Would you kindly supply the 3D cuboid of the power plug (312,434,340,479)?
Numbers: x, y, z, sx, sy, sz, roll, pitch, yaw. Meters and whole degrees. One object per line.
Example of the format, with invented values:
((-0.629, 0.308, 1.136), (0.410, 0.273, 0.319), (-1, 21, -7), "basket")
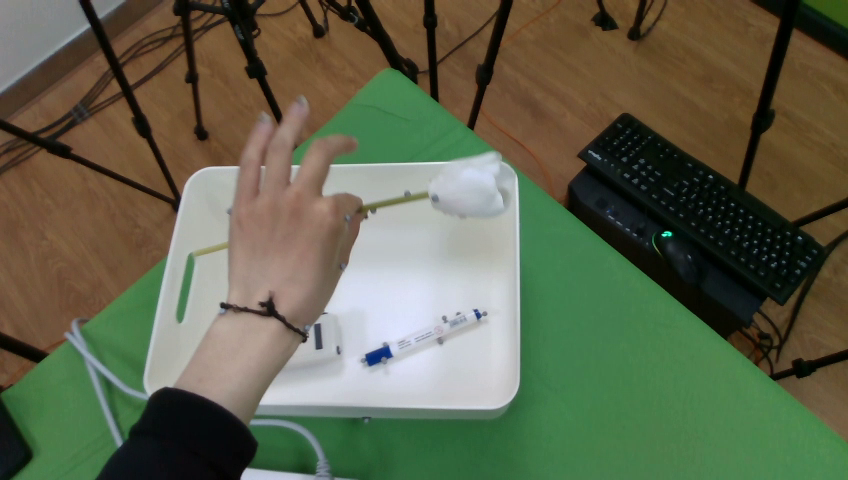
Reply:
((-0.098, 0.251, 0.647), (0.035, 0.053, 0.072), (12, 66, 13), "power plug")

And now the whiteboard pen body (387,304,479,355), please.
((-0.001, 0.110, 0.715), (0.141, 0.017, 0.017), (-24, 67, -1), "whiteboard pen body")

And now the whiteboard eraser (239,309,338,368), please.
((-0.160, 0.117, 0.717), (0.113, 0.042, 0.055), (-8, 69, 1), "whiteboard eraser")

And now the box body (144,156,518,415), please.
((-0.080, 0.061, 0.674), (0.364, 0.161, 0.252), (-1, 68, 7), "box body")

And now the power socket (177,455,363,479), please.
((-0.172, 0.283, 0.668), (0.226, 0.033, 0.071), (3, 68, 9), "power socket")

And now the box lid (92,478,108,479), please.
((-0.419, 0.470, 0.636), (0.371, 0.015, 0.261), (-43, 70, -10), "box lid")

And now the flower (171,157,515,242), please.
((-0.095, -0.020, 0.512), (0.360, 0.038, 0.044), (-7, 102, 30), "flower")

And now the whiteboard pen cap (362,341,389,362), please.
((-0.055, 0.130, 0.714), (0.033, 0.018, 0.018), (-23, 67, -1), "whiteboard pen cap")
